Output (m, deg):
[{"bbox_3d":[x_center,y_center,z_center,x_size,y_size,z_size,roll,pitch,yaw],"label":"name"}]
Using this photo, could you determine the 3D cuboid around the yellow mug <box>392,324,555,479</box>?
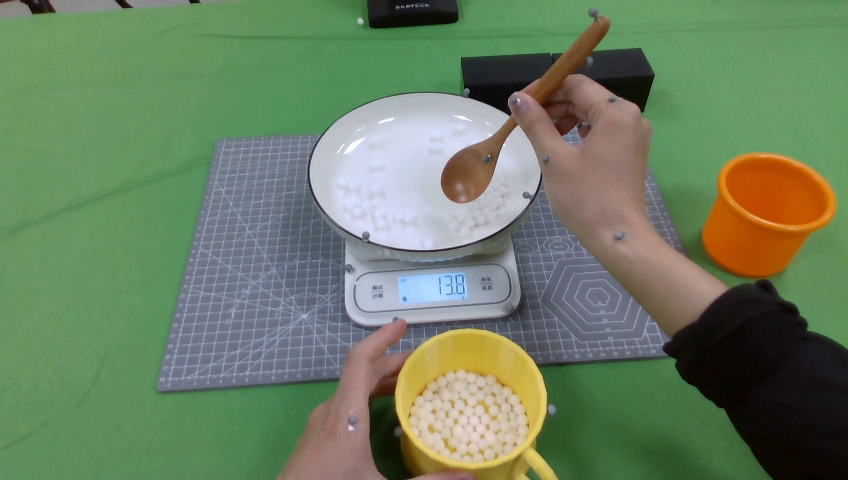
[{"bbox_3d":[0.040,0.126,0.415,0.100,0.064,0.129,-37,60,-24],"label":"yellow mug"}]

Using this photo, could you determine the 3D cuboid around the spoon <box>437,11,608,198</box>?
[{"bbox_3d":[0.066,-0.091,0.445,0.021,0.194,0.041,-30,80,-39],"label":"spoon"}]

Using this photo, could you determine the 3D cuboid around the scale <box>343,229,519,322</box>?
[{"bbox_3d":[0.001,-0.019,0.553,0.149,0.032,0.199,-4,51,-1],"label":"scale"}]

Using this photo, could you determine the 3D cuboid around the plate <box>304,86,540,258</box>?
[{"bbox_3d":[-0.002,-0.062,0.546,0.209,0.038,0.207,0,51,0],"label":"plate"}]
